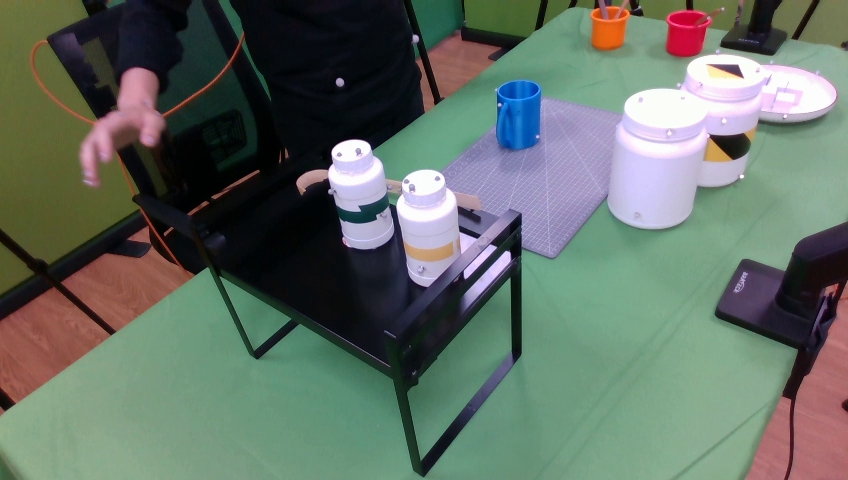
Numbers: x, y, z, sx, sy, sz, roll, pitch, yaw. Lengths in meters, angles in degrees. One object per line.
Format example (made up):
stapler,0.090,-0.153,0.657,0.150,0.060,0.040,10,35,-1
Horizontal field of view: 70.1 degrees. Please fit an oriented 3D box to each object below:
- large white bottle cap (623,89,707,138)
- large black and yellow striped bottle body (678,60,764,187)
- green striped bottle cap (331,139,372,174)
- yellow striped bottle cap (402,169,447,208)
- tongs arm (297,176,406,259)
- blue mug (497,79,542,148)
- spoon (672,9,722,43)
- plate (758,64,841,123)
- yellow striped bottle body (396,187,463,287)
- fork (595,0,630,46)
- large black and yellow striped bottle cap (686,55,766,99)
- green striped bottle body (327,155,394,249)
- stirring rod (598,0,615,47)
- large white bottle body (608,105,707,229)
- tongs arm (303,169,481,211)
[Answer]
large white bottle cap,0.352,-0.187,0.886,0.115,0.018,0.114,-4,41,4
large black and yellow striped bottle body,0.482,-0.196,1.008,0.131,0.185,0.130,-4,41,4
green striped bottle cap,-0.080,-0.092,0.665,0.044,0.020,0.044,-3,40,3
yellow striped bottle cap,0.000,-0.052,0.605,0.044,0.019,0.044,-5,43,5
tongs arm,-0.127,-0.042,1.006,0.028,0.028,0.384,-36,38,-20
blue mug,0.175,-0.234,1.156,0.081,0.106,0.117,24,50,32
spoon,0.606,-0.476,1.345,0.042,0.021,0.193,-6,-3,-2
plate,0.694,-0.283,1.189,0.207,0.039,0.206,-4,40,4
yellow striped bottle body,0.006,-0.013,0.638,0.063,0.121,0.062,-5,41,4
fork,0.480,-0.556,1.453,0.028,0.019,0.207,41,103,40
large black and yellow striped bottle cap,0.474,-0.258,0.952,0.115,0.019,0.114,-5,41,5
green striped bottle body,-0.073,-0.053,0.699,0.063,0.120,0.063,-4,41,4
stirring rod,0.437,-0.551,1.462,0.014,0.006,0.175,-11,83,0
large white bottle body,0.362,-0.124,0.941,0.130,0.185,0.130,-5,41,4
tongs arm,-0.070,-0.086,1.048,0.381,0.026,0.051,16,46,38
